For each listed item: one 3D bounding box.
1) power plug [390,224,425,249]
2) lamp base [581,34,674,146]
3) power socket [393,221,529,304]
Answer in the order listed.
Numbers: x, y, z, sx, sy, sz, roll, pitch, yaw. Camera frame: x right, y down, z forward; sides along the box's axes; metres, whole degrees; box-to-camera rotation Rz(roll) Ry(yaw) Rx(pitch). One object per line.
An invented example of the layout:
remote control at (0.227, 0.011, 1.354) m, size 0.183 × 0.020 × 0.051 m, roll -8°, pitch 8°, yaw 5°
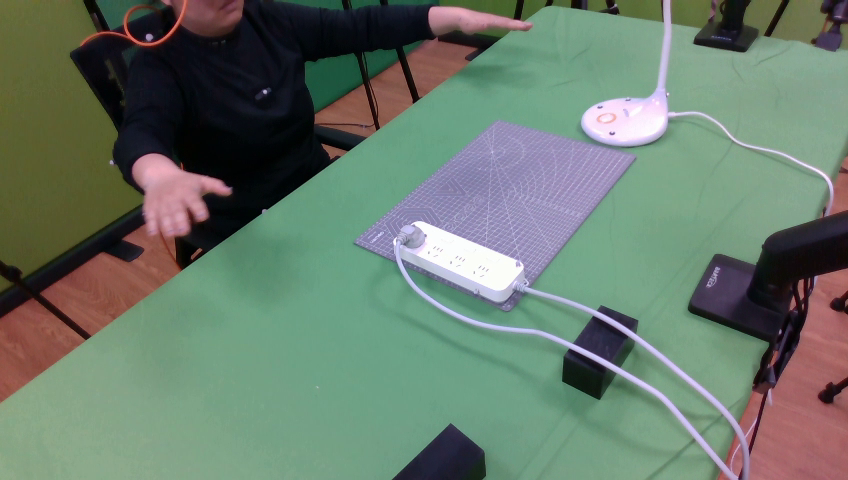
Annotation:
power plug at (-0.030, 0.004, 0.920) m, size 0.073 × 0.053 × 0.035 m, roll -34°, pitch 47°, yaw -26°
lamp base at (0.392, -0.291, 1.129) m, size 0.180 × 0.181 × 0.159 m, roll -11°, pitch 41°, yaw -8°
power socket at (0.049, 0.030, 0.914) m, size 0.225 × 0.033 × 0.072 m, roll 24°, pitch 51°, yaw 31°
